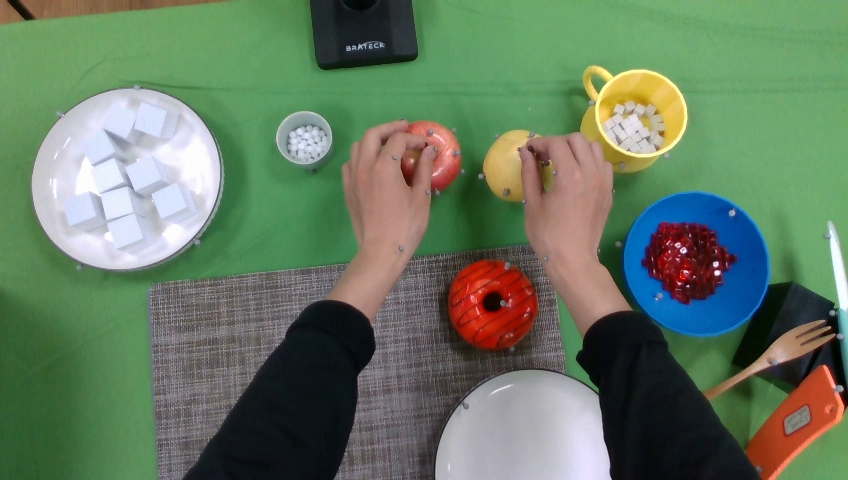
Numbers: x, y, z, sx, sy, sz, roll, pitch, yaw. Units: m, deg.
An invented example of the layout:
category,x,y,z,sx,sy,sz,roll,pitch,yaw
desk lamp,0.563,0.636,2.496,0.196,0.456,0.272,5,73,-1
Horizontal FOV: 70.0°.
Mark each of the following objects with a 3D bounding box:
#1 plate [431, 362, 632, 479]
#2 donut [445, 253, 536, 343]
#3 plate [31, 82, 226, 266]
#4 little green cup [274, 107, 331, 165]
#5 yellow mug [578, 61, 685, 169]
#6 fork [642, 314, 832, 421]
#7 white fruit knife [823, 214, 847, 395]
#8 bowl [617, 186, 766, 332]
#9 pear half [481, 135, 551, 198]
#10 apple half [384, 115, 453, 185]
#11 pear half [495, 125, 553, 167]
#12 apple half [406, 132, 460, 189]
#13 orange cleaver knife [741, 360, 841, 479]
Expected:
category,x,y,z,sx,sy,sz,roll,pitch,yaw
plate,0.112,0.233,0.638,0.209,0.038,0.208,0,82,-1
donut,0.071,0.063,0.658,0.099,0.048,0.099,0,83,4
plate,-0.323,-0.072,0.676,0.208,0.039,0.207,0,82,-1
little green cup,-0.134,-0.115,0.686,0.061,0.039,0.061,0,82,0
yellow mug,0.221,-0.149,0.682,0.100,0.064,0.130,-38,83,-5
fork,0.321,0.138,0.635,0.207,0.018,0.028,-35,90,15
white fruit knife,0.437,0.074,0.632,0.027,0.016,0.206,1,79,-30
bowl,0.274,0.023,0.654,0.151,0.077,0.151,0,83,-1
pear half,0.096,-0.076,0.640,0.076,0.110,0.056,24,81,5
apple half,-0.013,-0.105,0.662,0.053,0.074,0.081,42,90,-2
pear half,0.111,-0.106,0.653,0.070,0.088,0.031,22,83,7
apple half,0.016,-0.079,0.665,0.033,0.081,0.081,43,83,-1
orange cleaver knife,0.355,0.216,0.627,0.012,0.077,0.212,26,112,1
